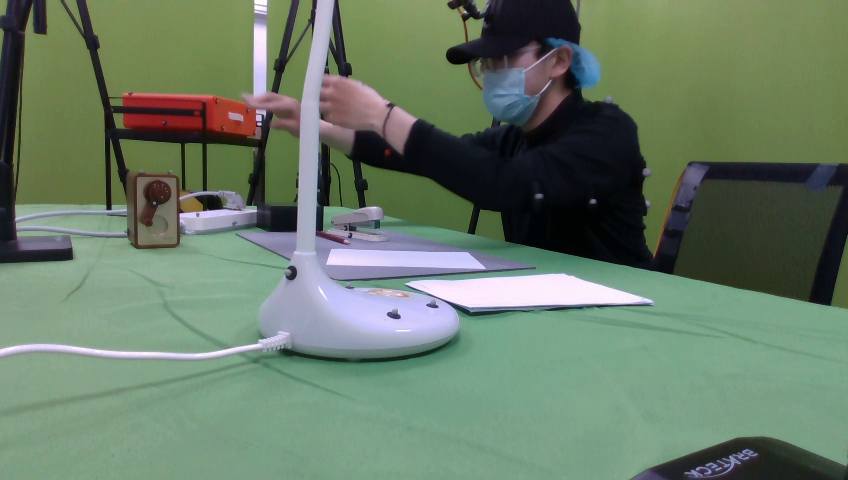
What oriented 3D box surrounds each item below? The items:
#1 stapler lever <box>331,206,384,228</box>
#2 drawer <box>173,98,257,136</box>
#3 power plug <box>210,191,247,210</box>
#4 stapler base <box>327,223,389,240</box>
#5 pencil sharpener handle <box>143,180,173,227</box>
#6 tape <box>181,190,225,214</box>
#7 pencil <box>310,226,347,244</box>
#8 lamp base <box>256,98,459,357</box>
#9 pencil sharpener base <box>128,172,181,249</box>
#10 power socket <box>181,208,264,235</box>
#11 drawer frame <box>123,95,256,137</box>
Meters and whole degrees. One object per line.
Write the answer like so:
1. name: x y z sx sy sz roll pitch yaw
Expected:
1. stapler lever: -0.118 -0.043 1.070 0.117 0.040 0.027 7 8 41
2. drawer: -0.518 -0.279 1.376 0.211 0.073 0.195 2 8 10
3. power plug: -0.386 -0.071 1.204 0.072 0.052 0.035 7 8 25
4. stapler base: -0.117 -0.018 1.073 0.130 0.024 0.041 7 8 41
5. pencil sharpener handle: -0.371 -0.050 0.840 0.036 0.067 0.030 24 -6 -34
6. tape: -0.515 -0.087 1.388 0.117 0.052 0.117 3 7 0
7. pencil: -0.173 -0.010 1.041 0.012 0.012 0.193 -2 10 -31
8. lamp base: -0.055 -0.013 0.463 0.160 0.180 0.180 6 11 27
9. pencil sharpener base: -0.395 -0.044 0.887 0.062 0.107 0.076 -2 9 -34
10. power socket: -0.381 -0.038 1.129 0.072 0.032 0.227 4 8 17
11. drawer frame: -0.523 -0.281 1.376 0.213 0.082 0.202 3 8 8
